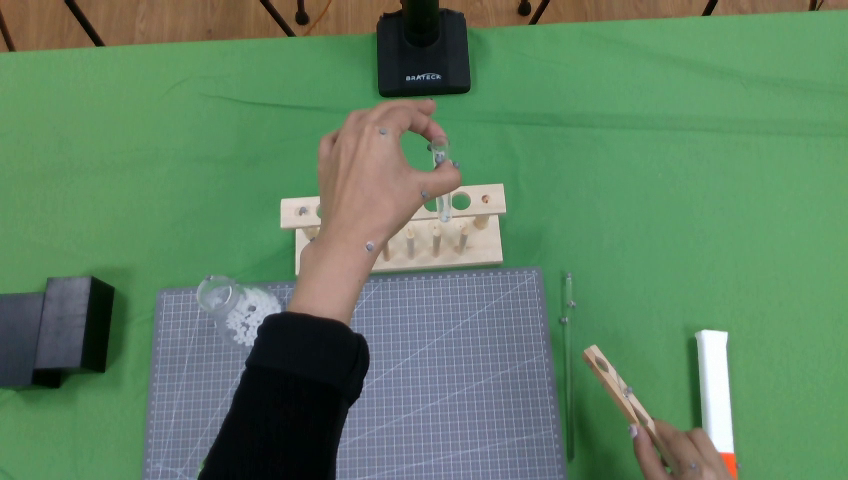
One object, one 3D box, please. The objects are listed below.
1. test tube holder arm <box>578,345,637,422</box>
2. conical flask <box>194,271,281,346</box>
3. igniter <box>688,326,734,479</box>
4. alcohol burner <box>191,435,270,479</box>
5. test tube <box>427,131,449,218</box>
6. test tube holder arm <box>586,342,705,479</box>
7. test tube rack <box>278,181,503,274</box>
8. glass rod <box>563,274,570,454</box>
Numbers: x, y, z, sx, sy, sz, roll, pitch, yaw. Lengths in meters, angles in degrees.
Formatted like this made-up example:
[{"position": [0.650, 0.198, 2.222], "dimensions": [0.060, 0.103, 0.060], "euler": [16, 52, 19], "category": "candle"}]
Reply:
[{"position": [0.188, 0.145, 0.615], "dimensions": [0.010, 0.015, 0.087], "euler": [-32, 62, -9], "category": "test tube holder arm"}, {"position": [-0.201, 0.067, 0.640], "dimensions": [0.075, 0.122, 0.075], "euler": [0, 72, 1], "category": "conical flask"}, {"position": [0.303, 0.228, 0.633], "dimensions": [0.057, 0.025, 0.275], "euler": [8, 72, -7], "category": "igniter"}, {"position": [-0.194, 0.231, 0.592], "dimensions": [0.078, 0.120, 0.077], "euler": [-1, 70, 3], "category": "alcohol burner"}, {"position": [0.014, -0.054, 0.545], "dimensions": [0.017, 0.151, 0.017], "euler": [-1, 70, 3], "category": "test tube"}, {"position": [0.217, 0.174, 0.595], "dimensions": [0.013, 0.015, 0.176], "euler": [-33, 62, -9], "category": "test tube holder arm"}, {"position": [-0.035, -0.011, 0.686], "dimensions": [0.242, 0.085, 0.066], "euler": [-4, 72, 0], "category": "test tube rack"}, {"position": [0.159, 0.134, 0.675], "dimensions": [0.008, 0.008, 0.198], "euler": [3, 74, 2], "category": "glass rod"}]
